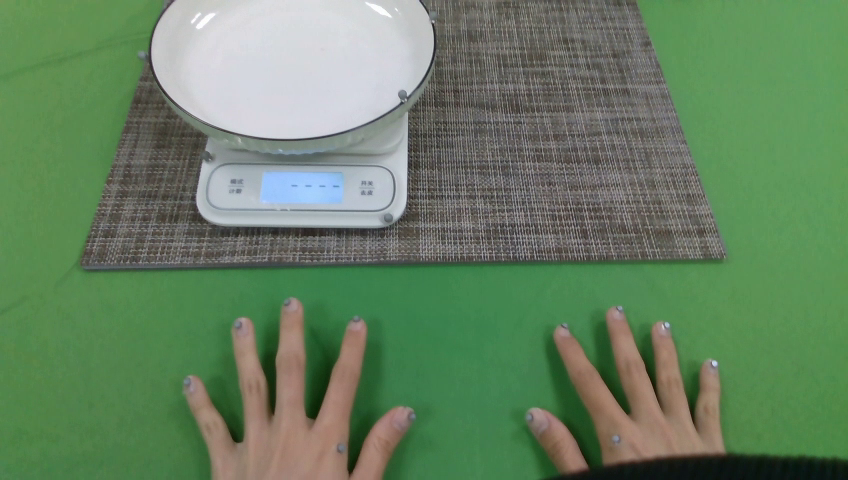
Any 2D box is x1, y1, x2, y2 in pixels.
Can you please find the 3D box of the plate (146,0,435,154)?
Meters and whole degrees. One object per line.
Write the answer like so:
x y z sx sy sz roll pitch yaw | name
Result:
-0.095 -0.140 0.457 0.208 0.039 0.205 2 57 -2 | plate

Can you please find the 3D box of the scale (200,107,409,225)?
-0.086 -0.100 0.471 0.149 0.032 0.199 1 58 -2 | scale
